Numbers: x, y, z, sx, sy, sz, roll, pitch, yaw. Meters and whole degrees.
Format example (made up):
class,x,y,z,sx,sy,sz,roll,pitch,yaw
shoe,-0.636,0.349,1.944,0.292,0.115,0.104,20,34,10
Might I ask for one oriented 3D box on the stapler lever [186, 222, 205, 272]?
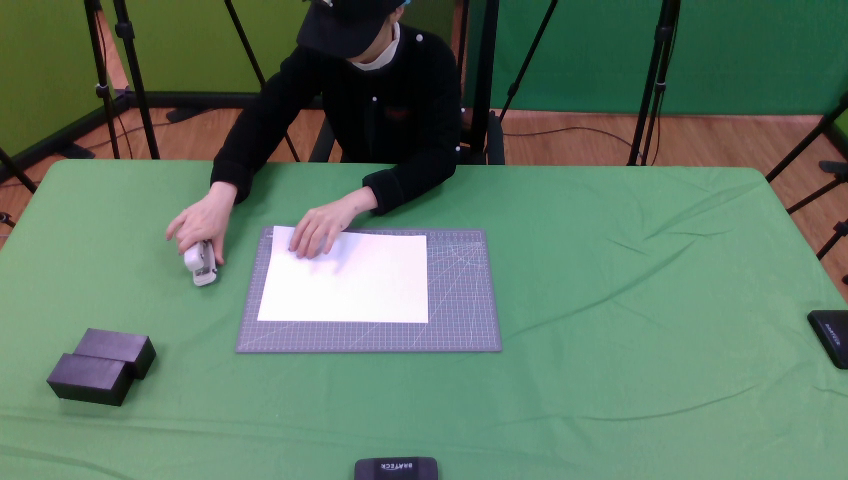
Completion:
class,x,y,z,sx,sy,sz,roll,pitch,yaw
stapler lever,-0.417,0.009,1.107,0.027,0.040,0.117,-19,52,-3

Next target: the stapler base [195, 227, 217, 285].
class,x,y,z,sx,sy,sz,roll,pitch,yaw
stapler base,-0.412,0.024,1.125,0.041,0.024,0.129,-19,51,-3
